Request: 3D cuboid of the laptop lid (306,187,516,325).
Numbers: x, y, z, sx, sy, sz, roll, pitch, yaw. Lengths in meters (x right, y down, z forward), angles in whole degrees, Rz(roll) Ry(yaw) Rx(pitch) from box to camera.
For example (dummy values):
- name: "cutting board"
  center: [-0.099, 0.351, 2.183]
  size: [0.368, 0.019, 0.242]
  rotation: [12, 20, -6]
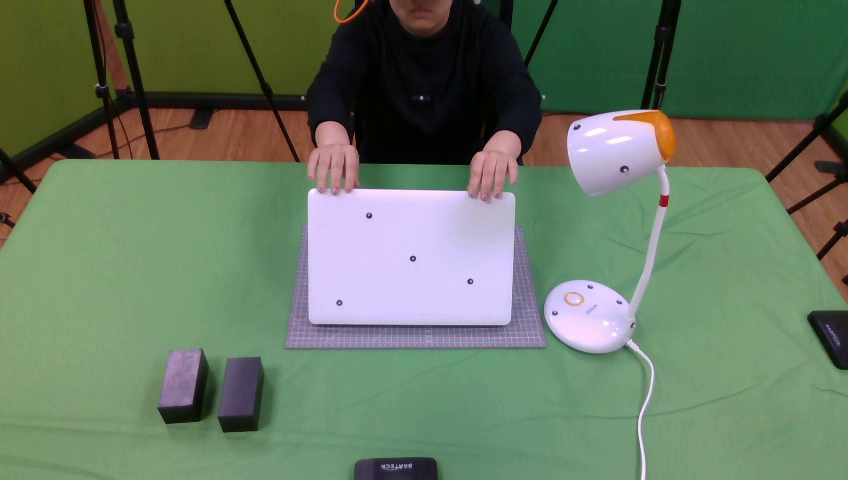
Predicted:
- name: "laptop lid"
  center: [-0.021, 0.030, 1.029]
  size: [0.357, 0.242, 0.013]
  rotation: [2, 7, -4]

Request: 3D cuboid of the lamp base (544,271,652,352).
- name: "lamp base"
  center: [0.310, 0.086, 1.029]
  size: [0.178, 0.181, 0.160]
  rotation: [32, 52, 21]

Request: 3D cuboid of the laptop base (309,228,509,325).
- name: "laptop base"
  center: [-0.028, 0.066, 1.135]
  size: [0.355, 0.023, 0.234]
  rotation: [1, 43, -4]

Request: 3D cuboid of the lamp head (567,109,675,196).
- name: "lamp head"
  center: [0.272, -0.123, 0.818]
  size: [0.122, 0.113, 0.112]
  rotation: [-9, 35, 37]
